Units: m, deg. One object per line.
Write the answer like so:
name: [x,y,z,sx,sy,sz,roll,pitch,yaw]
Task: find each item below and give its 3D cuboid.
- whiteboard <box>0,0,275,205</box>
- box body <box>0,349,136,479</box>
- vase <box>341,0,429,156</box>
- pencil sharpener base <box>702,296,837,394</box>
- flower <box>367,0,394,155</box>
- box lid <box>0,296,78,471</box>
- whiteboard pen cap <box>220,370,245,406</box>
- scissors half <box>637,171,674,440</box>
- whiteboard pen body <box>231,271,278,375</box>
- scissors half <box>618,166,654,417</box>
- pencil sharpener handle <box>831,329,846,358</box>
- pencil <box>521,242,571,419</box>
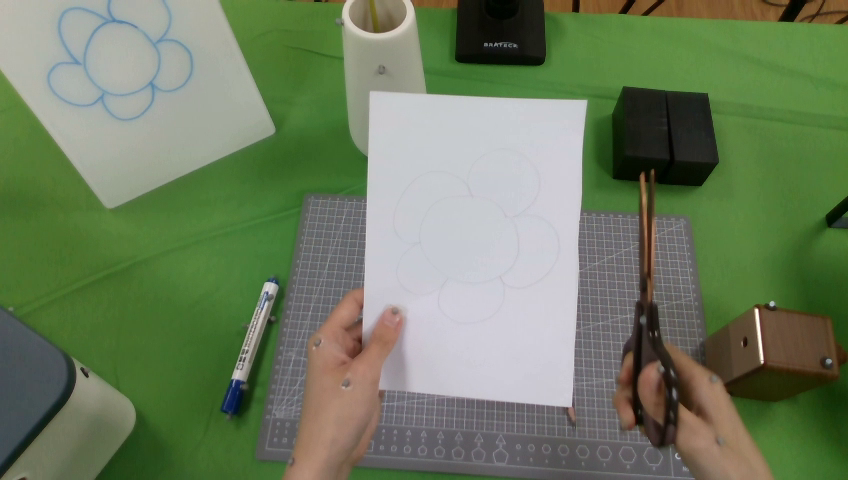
whiteboard: [-0.335,-0.233,0.664,0.217,0.308,0.142,-28,48,-13]
box body: [-0.480,0.141,0.527,0.362,0.161,0.253,29,67,13]
vase: [-0.044,-0.180,0.665,0.098,0.201,0.097,0,63,1]
pencil sharpener base: [0.326,0.104,0.579,0.077,0.108,0.061,8,63,0]
flower: [-0.051,-0.230,0.597,0.044,0.365,0.038,-3,46,2]
box lid: [-0.482,0.107,0.460,0.370,0.015,0.262,29,67,13]
whiteboard pen cap: [-0.189,0.147,0.603,0.018,0.018,0.033,10,59,5]
scissors half: [0.146,0.037,0.390,0.013,0.040,0.174,2,74,-2]
whiteboard pen body: [-0.179,0.096,0.630,0.017,0.017,0.140,10,63,5]
scissors half: [0.147,0.038,0.413,0.013,0.040,0.176,2,105,3]
pencil sharpener handle: [0.377,0.106,0.567,0.030,0.068,0.035,8,58,0]
pencil: [0.129,0.090,0.638,0.012,0.012,0.192,-9,66,-4]
